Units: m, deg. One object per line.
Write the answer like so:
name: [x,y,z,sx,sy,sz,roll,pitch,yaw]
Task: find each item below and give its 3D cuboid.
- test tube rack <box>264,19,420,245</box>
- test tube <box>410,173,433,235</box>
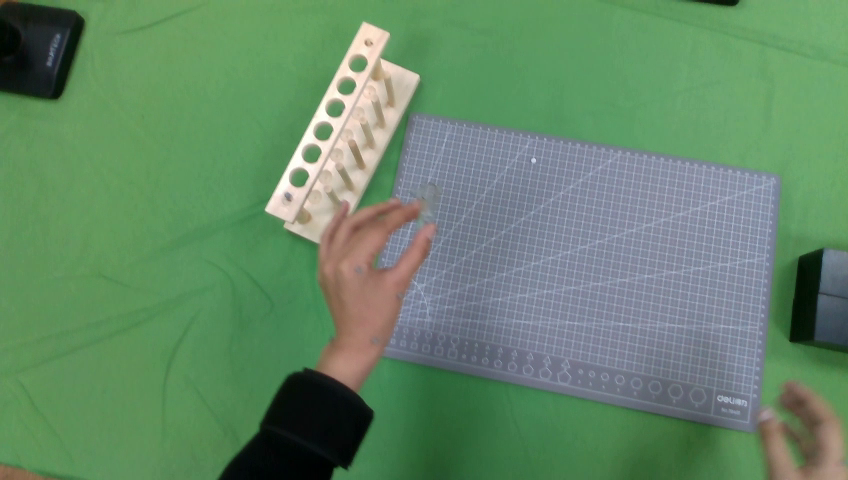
test tube rack: [-0.089,-0.123,0.705,0.066,0.085,0.242,25,81,7]
test tube: [-0.003,-0.028,0.537,0.017,0.151,0.017,1,77,-2]
